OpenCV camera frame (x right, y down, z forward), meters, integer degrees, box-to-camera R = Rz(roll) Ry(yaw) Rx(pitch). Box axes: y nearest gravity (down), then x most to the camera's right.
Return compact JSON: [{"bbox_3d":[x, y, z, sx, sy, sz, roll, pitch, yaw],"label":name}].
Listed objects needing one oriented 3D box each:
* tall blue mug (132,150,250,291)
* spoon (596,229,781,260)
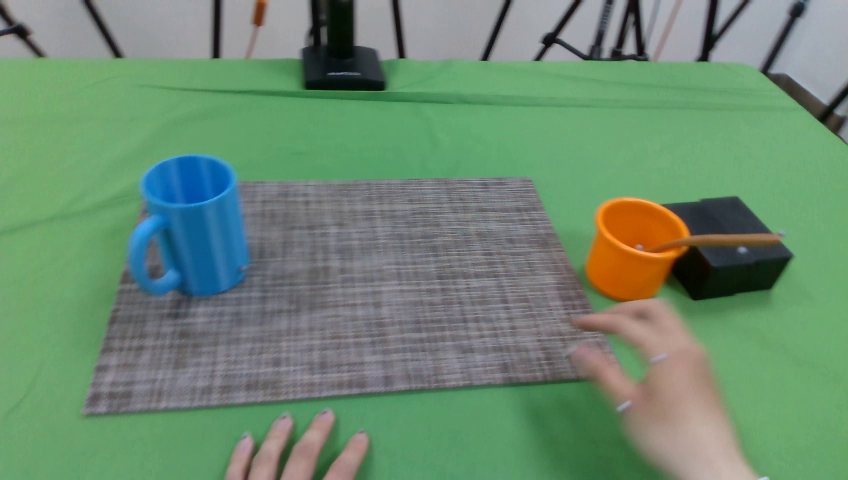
[{"bbox_3d":[-0.205,-0.007,0.546,0.078,0.109,0.106,5,42,-4],"label":"tall blue mug"},{"bbox_3d":[0.242,0.002,0.578,0.042,0.193,0.021,-19,92,-30],"label":"spoon"}]
